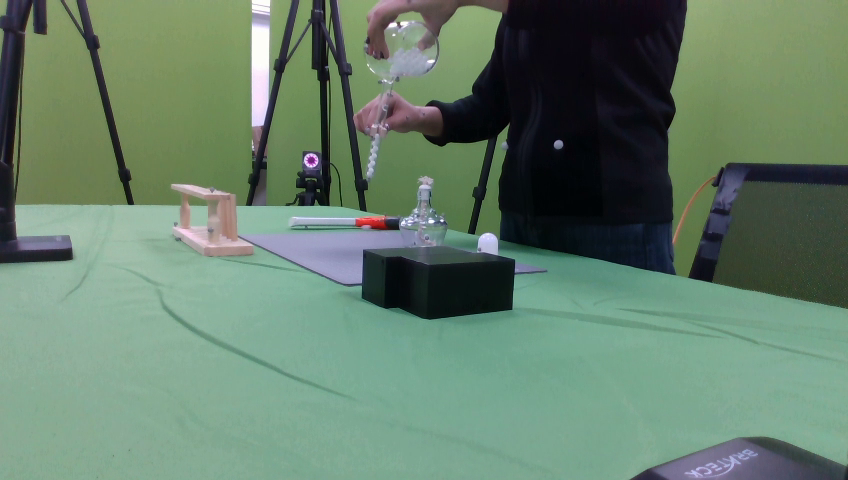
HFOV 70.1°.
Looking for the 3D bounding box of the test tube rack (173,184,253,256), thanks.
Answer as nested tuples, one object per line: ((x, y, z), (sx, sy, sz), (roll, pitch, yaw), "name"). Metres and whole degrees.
((-0.329, -0.036, 0.927), (0.067, 0.085, 0.241), (-2, 9, -32), "test tube rack")

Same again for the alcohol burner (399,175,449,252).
((0.000, -0.041, 0.937), (0.078, 0.119, 0.078), (0, 7, 0), "alcohol burner")

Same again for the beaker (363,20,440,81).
((-0.031, -0.264, 0.842), (0.074, 0.084, 0.100), (-11, 19, -28), "beaker")

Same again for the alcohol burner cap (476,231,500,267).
((0.088, 0.012, 0.830), (0.034, 0.048, 0.034), (2, 6, 0), "alcohol burner cap")

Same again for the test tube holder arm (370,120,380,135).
((-0.079, -0.184, 0.979), (0.013, 0.015, 0.178), (15, 13, -8), "test tube holder arm")

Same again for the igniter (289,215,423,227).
((-0.133, -0.038, 1.232), (0.278, 0.025, 0.057), (-1, -2, -26), "igniter")

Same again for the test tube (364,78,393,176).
((-0.069, -0.169, 0.913), (0.017, 0.150, 0.017), (12, 17, -3), "test tube")

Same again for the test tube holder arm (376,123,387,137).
((-0.069, -0.171, 0.937), (0.010, 0.015, 0.087), (13, 13, -15), "test tube holder arm")
